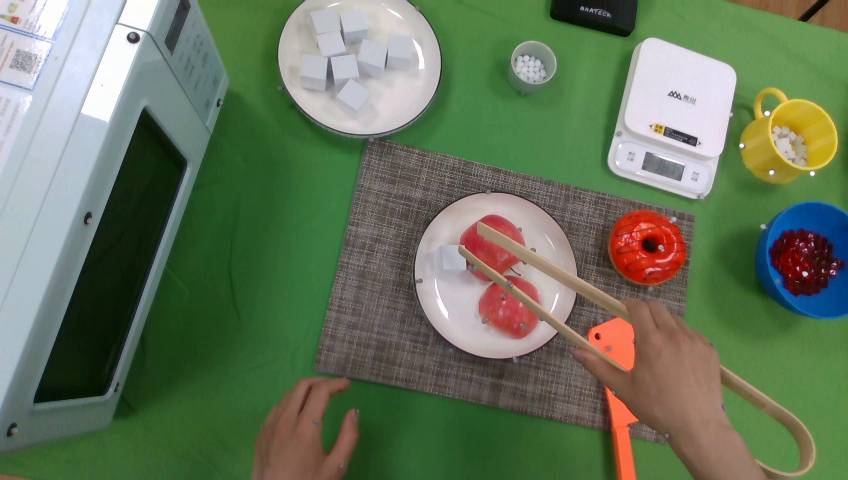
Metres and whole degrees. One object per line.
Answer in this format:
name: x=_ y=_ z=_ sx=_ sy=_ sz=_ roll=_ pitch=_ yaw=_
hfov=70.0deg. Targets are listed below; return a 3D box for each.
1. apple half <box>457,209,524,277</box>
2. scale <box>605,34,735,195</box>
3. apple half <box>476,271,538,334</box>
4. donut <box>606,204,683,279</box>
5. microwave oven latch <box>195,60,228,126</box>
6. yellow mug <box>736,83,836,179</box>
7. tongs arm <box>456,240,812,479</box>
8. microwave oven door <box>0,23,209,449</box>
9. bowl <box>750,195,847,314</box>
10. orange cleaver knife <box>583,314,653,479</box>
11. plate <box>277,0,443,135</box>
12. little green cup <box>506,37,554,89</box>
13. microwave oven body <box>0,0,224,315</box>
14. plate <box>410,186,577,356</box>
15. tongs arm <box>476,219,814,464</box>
apple half: x=0.084 y=0.000 z=0.741 sx=0.081 sy=0.053 sz=0.074 roll=-31 pitch=82 yaw=-12
scale: x=0.337 y=-0.173 z=0.829 sx=0.149 sy=0.031 sz=0.200 roll=17 pitch=79 yaw=-4
apple half: x=0.106 y=0.073 z=0.740 sx=0.081 sy=0.033 sz=0.081 roll=1 pitch=80 yaw=-4
donut: x=0.282 y=0.002 z=0.780 sx=0.099 sy=0.048 sz=0.098 roll=1 pitch=79 yaw=-5
microwave oven latch: x=-0.260 y=-0.180 z=0.729 sx=0.030 sy=0.029 sz=0.079 roll=17 pitch=79 yaw=-4
yellow mug: x=0.486 y=-0.154 z=0.828 sx=0.100 sy=0.064 sz=0.130 roll=-20 pitch=82 yaw=-10
tongs arm: x=0.189 y=0.103 z=0.606 sx=0.382 sy=0.027 sz=0.050 roll=40 pitch=69 yaw=22
microwave oven door: x=-0.305 y=0.007 z=0.585 sx=0.039 sy=0.244 sz=0.354 roll=15 pitch=78 yaw=-4
bowl: x=0.485 y=0.024 z=0.789 sx=0.152 sy=0.077 sz=0.151 roll=1 pitch=80 yaw=-7
orange cleaver knife: x=0.248 y=0.192 z=0.754 sx=0.077 sy=0.012 sz=0.210 roll=-4 pitch=79 yaw=-13
plate: x=-0.081 y=-0.231 z=0.781 sx=0.208 sy=0.039 sz=0.206 roll=1 pitch=79 yaw=-7
little green cup: x=0.139 y=-0.234 z=0.811 sx=0.062 sy=0.039 sz=0.061 roll=1 pitch=79 yaw=-7
microwave oven body: x=-0.435 y=-0.071 z=0.587 sx=0.326 sy=0.260 sz=0.440 roll=15 pitch=79 yaw=-5
plate: x=0.084 y=0.038 z=0.750 sx=0.209 sy=0.038 sz=0.208 roll=1 pitch=80 yaw=-7
tongs arm: x=0.205 y=0.087 z=0.614 sx=0.385 sy=0.028 sz=0.028 roll=35 pitch=64 yaw=21
